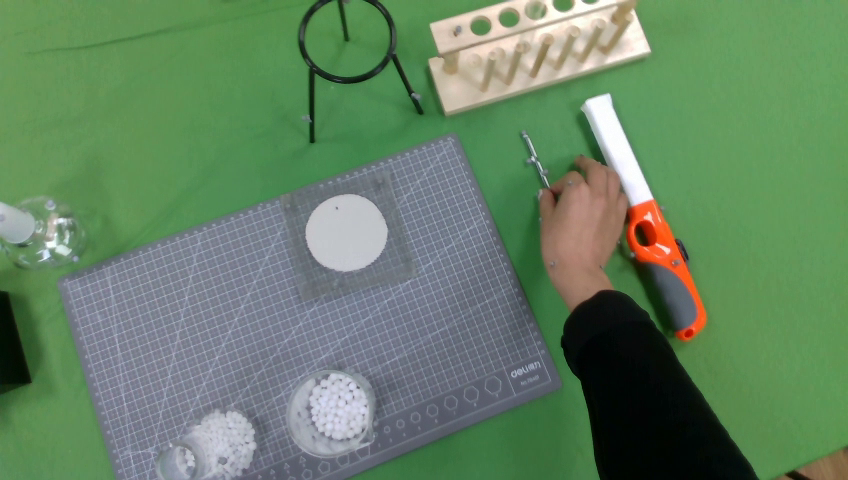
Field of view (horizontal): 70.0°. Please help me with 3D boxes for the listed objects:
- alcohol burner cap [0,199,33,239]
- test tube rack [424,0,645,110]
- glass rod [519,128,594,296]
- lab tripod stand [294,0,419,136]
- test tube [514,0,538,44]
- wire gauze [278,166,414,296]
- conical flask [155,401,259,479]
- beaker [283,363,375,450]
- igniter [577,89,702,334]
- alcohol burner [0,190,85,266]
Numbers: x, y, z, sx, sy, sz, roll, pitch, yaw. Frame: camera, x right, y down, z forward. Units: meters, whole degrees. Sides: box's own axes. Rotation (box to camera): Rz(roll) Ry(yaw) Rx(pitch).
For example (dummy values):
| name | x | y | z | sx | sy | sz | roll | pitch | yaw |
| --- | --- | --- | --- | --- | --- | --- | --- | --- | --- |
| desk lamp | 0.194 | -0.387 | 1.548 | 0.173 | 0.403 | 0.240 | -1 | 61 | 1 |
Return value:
| name | x | y | z | sx | sy | sz | roll | pitch | yaw |
| --- | --- | --- | --- | --- | --- | --- | --- | --- | --- |
| alcohol burner cap | -0.388 | -0.023 | 0.554 | 0.034 | 0.048 | 0.033 | 0 | 74 | 1 |
| test tube rack | 0.125 | -0.219 | 0.650 | 0.242 | 0.085 | 0.066 | -18 | 80 | -4 |
| glass rod | 0.143 | -0.032 | 0.658 | 0.008 | 0.008 | 0.199 | -20 | 82 | -5 |
| lab tripod stand | -0.077 | -0.176 | 0.614 | 0.148 | 0.132 | 0.148 | 0 | 82 | -1 |
| test tube | 0.105 | -0.236 | 0.602 | 0.017 | 0.150 | 0.017 | 0 | 80 | 2 |
| wire gauze | -0.084 | -0.010 | 0.646 | 0.125 | 0.011 | 0.121 | -13 | 81 | -6 |
| conical flask | -0.201 | 0.189 | 0.552 | 0.075 | 0.122 | 0.075 | 0 | 80 | -1 |
| beaker | -0.081 | 0.155 | 0.572 | 0.084 | 0.100 | 0.074 | 32 | 81 | 4 |
| igniter | 0.231 | -0.034 | 0.650 | 0.057 | 0.025 | 0.275 | -18 | 81 | -14 |
| alcohol burner | -0.388 | -0.014 | 0.589 | 0.078 | 0.119 | 0.077 | 0 | 81 | 0 |
